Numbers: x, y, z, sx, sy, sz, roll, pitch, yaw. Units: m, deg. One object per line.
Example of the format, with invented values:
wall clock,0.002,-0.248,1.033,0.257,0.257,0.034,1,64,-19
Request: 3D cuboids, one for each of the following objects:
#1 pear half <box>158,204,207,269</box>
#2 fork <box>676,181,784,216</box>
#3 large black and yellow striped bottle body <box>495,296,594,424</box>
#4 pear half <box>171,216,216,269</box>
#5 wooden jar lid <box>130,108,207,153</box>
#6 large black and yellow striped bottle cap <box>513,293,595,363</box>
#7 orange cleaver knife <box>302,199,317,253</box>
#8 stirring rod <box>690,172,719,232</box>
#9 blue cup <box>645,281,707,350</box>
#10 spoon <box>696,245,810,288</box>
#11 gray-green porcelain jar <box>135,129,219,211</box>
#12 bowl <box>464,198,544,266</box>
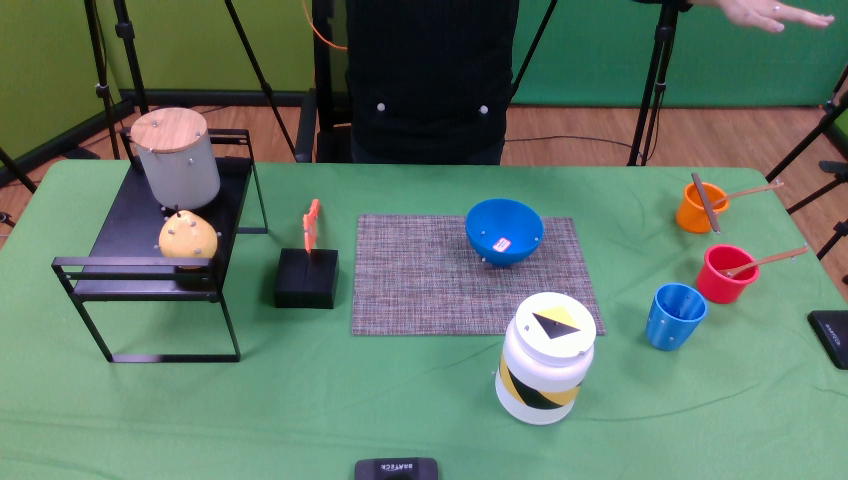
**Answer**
pear half,-0.352,-0.015,0.873,0.056,0.110,0.076,25,45,19
fork,0.618,-0.084,1.235,0.207,0.019,0.028,-23,21,38
large black and yellow striped bottle body,0.183,0.182,0.923,0.131,0.185,0.130,2,46,-2
pear half,-0.323,0.007,0.867,0.031,0.088,0.070,25,46,20
wooden jar lid,-0.383,-0.162,0.914,0.108,0.021,0.107,4,46,-4
large black and yellow striped bottle cap,0.186,0.123,0.863,0.115,0.019,0.114,3,45,-3
orange cleaver knife,-0.219,-0.031,1.168,0.012,0.077,0.210,-5,17,-3
stirring rod,0.566,-0.080,1.225,0.014,0.006,0.175,3,46,1
blue cup,0.425,0.136,1.042,0.092,0.101,0.092,1,44,-1
spoon,0.601,0.047,1.114,0.193,0.022,0.041,-26,36,33
gray-green porcelain jar,-0.386,-0.118,0.959,0.106,0.127,0.105,2,46,-2
bowl,0.149,-0.004,1.168,0.151,0.077,0.150,2,46,-2
